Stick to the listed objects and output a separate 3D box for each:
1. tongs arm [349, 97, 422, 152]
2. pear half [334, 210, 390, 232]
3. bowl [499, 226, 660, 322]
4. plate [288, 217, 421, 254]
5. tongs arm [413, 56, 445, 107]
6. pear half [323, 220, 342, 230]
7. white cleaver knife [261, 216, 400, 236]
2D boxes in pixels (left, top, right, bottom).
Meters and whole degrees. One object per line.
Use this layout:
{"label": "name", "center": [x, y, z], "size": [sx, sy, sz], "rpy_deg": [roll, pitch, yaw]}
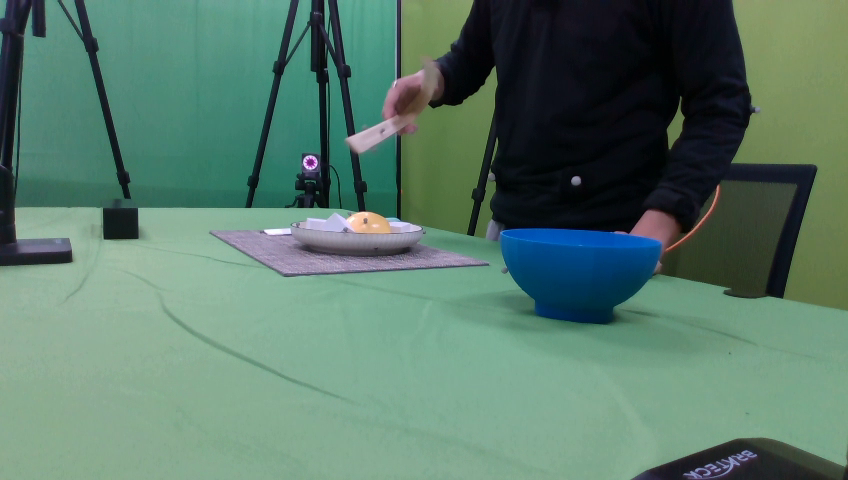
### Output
{"label": "tongs arm", "center": [-0.047, -0.179, 0.900], "size": [0.026, 0.050, 0.385], "rpy_deg": [44, 15, -7]}
{"label": "pear half", "center": [-0.107, -0.017, 0.920], "size": [0.110, 0.056, 0.076], "rpy_deg": [-5, 5, -20]}
{"label": "bowl", "center": [0.145, 0.032, 0.584], "size": [0.151, 0.077, 0.151], "rpy_deg": [2, 7, 0]}
{"label": "plate", "center": [-0.109, -0.007, 0.956], "size": [0.208, 0.039, 0.207], "rpy_deg": [2, 7, 0]}
{"label": "tongs arm", "center": [0.006, -0.228, 0.886], "size": [0.028, 0.028, 0.387], "rpy_deg": [41, 4, -7]}
{"label": "pear half", "center": [-0.126, -0.019, 1.001], "size": [0.088, 0.031, 0.070], "rpy_deg": [8, 4, 0]}
{"label": "white cleaver knife", "center": [-0.169, -0.021, 1.156], "size": [0.288, 0.021, 0.065], "rpy_deg": [-7, 20, -33]}
